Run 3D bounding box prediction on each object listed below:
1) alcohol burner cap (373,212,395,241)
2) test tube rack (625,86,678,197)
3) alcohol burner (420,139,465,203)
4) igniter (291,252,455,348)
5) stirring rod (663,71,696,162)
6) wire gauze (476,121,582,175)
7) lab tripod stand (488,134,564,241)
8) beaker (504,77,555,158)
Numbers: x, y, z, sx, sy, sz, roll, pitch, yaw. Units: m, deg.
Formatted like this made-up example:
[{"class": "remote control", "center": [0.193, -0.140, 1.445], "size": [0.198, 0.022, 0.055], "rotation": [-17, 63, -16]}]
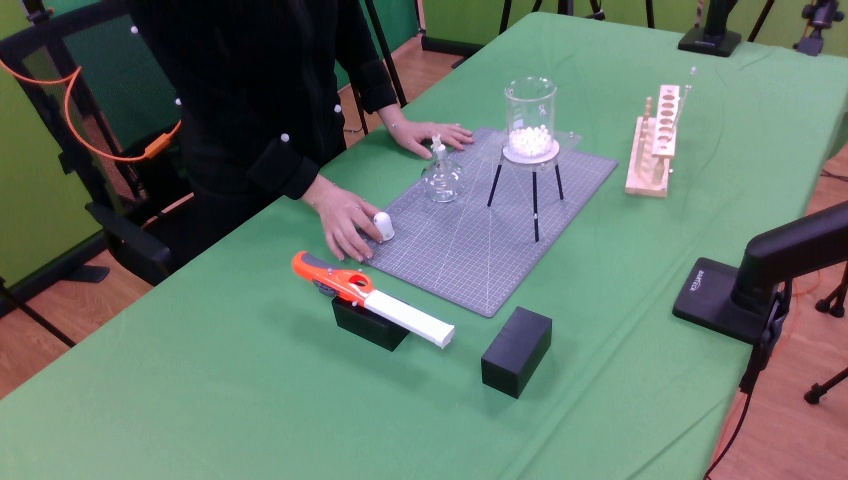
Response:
[{"class": "alcohol burner cap", "center": [-0.067, -0.024, 0.986], "size": [0.034, 0.048, 0.033], "rotation": [-4, 44, 5]}, {"class": "test tube rack", "center": [0.412, -0.184, 1.088], "size": [0.066, 0.085, 0.242], "rotation": [9, 43, 18]}, {"class": "alcohol burner", "center": [0.030, -0.124, 1.044], "size": [0.078, 0.119, 0.077], "rotation": [-5, 42, 5]}, {"class": "igniter", "center": [-0.080, 0.076, 0.822], "size": [0.274, 0.025, 0.057], "rotation": [23, 45, 27]}, {"class": "stirring rod", "center": [0.410, -0.195, 0.981], "size": [0.014, 0.177, 0.006], "rotation": [11, 50, 14]}, {"class": "wire gauze", "center": [0.162, -0.142, 0.929], "size": [0.120, 0.011, 0.125], "rotation": [19, 49, 32]}, {"class": "lab tripod stand", "center": [0.168, -0.092, 0.972], "size": [0.148, 0.132, 0.147], "rotation": [-5, 41, 5]}, {"class": "beaker", "center": [0.160, -0.181, 0.900], "size": [0.084, 0.101, 0.073], "rotation": [-33, 46, -27]}]
